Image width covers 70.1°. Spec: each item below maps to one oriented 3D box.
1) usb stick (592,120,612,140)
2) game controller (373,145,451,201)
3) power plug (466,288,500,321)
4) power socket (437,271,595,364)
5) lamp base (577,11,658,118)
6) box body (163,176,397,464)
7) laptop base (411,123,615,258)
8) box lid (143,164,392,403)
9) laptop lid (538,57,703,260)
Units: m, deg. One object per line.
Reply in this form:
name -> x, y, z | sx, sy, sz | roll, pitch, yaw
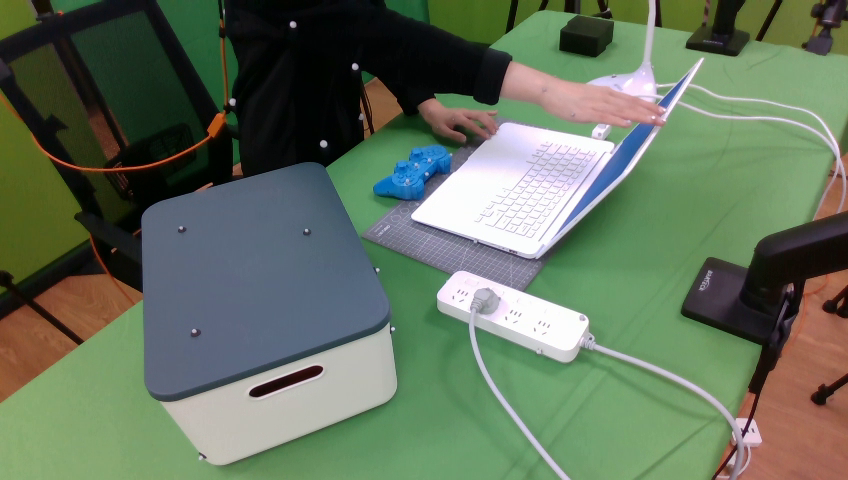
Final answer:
usb stick -> 0.335, -0.202, 1.148 | 0.021, 0.027, 0.059 | 25, 52, 26
game controller -> -0.018, -0.130, 1.111 | 0.096, 0.052, 0.155 | 22, 48, 26
power plug -> 0.072, 0.093, 0.813 | 0.035, 0.053, 0.073 | 30, 55, 35
power socket -> 0.119, 0.102, 0.830 | 0.225, 0.033, 0.072 | 20, 48, 28
lamp base -> 0.406, -0.363, 1.223 | 0.180, 0.181, 0.159 | -20, 42, -18
box body -> -0.205, 0.080, 0.802 | 0.255, 0.161, 0.361 | -18, 41, -13
laptop base -> 0.167, -0.102, 1.074 | 0.234, 0.023, 0.355 | 16, 45, 30
box lid -> -0.212, 0.025, 0.753 | 0.264, 0.015, 0.368 | -18, 40, -13
laptop lid -> 0.304, -0.127, 0.928 | 0.013, 0.241, 0.357 | 39, 51, 4
